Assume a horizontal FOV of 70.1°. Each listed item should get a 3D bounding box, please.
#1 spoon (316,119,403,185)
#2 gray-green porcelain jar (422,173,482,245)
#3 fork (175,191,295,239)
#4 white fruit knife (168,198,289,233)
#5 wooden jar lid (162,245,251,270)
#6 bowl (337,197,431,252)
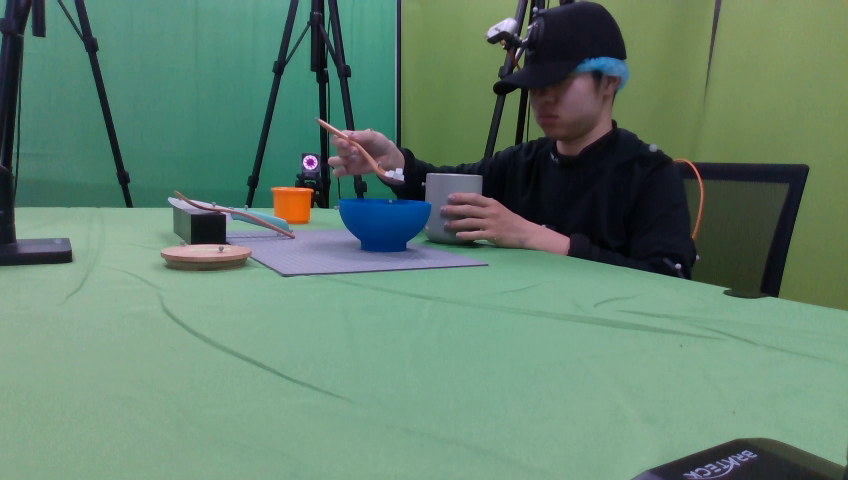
[{"bbox_3d":[-0.109,-0.147,1.006,0.193,0.021,0.042,42,16,15],"label":"spoon"},{"bbox_3d":[0.050,-0.058,1.115,0.106,0.126,0.106,3,8,0],"label":"gray-green porcelain jar"},{"bbox_3d":[-0.306,-0.039,0.993,0.208,0.018,0.028,19,-7,-34],"label":"fork"},{"bbox_3d":[-0.329,-0.044,1.036,0.208,0.027,0.016,14,-1,-32],"label":"white fruit knife"},{"bbox_3d":[-0.278,0.022,0.777,0.108,0.020,0.108,2,6,0],"label":"wooden jar lid"},{"bbox_3d":[-0.065,-0.024,0.967,0.151,0.077,0.151,3,8,0],"label":"bowl"}]
